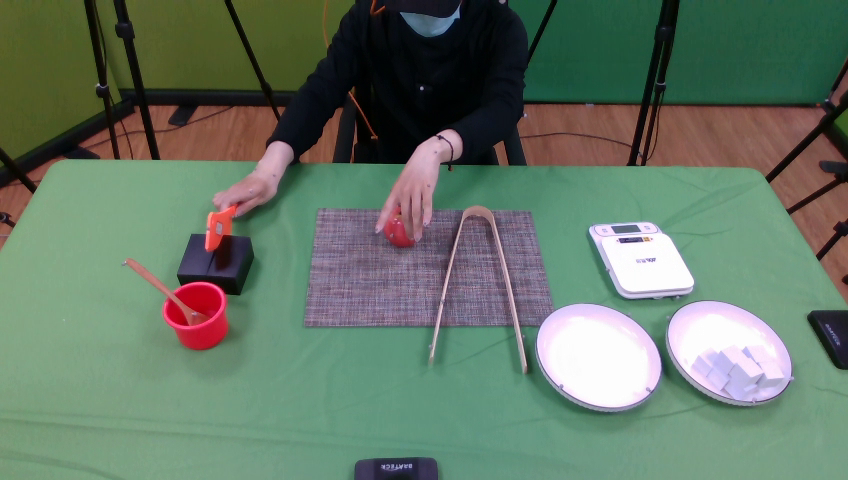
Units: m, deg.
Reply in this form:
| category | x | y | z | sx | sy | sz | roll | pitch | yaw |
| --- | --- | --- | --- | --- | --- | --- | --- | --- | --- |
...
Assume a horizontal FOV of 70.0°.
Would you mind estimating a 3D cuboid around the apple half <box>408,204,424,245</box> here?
| category | x | y | z | sx | sy | sz | roll | pitch | yaw |
| --- | --- | --- | --- | --- | --- | --- | --- | --- | --- |
| apple half | -0.015 | -0.029 | 1.181 | 0.033 | 0.082 | 0.081 | 1 | 46 | 2 |

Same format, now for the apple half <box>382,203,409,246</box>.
| category | x | y | z | sx | sy | sz | roll | pitch | yaw |
| --- | --- | --- | --- | --- | --- | --- | --- | --- | --- |
| apple half | -0.054 | -0.029 | 1.180 | 0.053 | 0.075 | 0.080 | 1 | 49 | 2 |

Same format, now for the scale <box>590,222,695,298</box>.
| category | x | y | z | sx | sy | sz | roll | pitch | yaw |
| --- | --- | --- | --- | --- | --- | --- | --- | --- | --- |
| scale | 0.424 | 0.031 | 1.189 | 0.149 | 0.032 | 0.199 | -3 | 46 | -7 |

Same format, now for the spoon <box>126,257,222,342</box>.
| category | x | y | z | sx | sy | sz | roll | pitch | yaw |
| --- | --- | --- | --- | --- | --- | --- | --- | --- | --- |
| spoon | -0.408 | 0.096 | 0.990 | 0.194 | 0.021 | 0.041 | 50 | 53 | -18 |

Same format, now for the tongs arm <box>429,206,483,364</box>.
| category | x | y | z | sx | sy | sz | roll | pitch | yaw |
| --- | --- | --- | --- | --- | --- | --- | --- | --- | --- |
| tongs arm | 0.064 | 0.069 | 1.124 | 0.051 | 0.026 | 0.382 | 8 | 45 | 5 |

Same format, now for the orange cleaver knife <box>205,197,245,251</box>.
| category | x | y | z | sx | sy | sz | roll | pitch | yaw |
| --- | --- | --- | --- | --- | --- | --- | --- | --- | --- |
| orange cleaver knife | -0.374 | -0.034 | 1.144 | 0.012 | 0.077 | 0.210 | 7 | 15 | -2 |

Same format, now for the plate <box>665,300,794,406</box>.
| category | x | y | z | sx | sy | sz | roll | pitch | yaw |
| --- | --- | --- | --- | --- | --- | --- | --- | --- | --- |
| plate | 0.513 | 0.194 | 1.034 | 0.208 | 0.039 | 0.206 | 2 | 46 | -2 |

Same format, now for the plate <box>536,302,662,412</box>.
| category | x | y | z | sx | sy | sz | roll | pitch | yaw |
| --- | --- | --- | --- | --- | --- | --- | --- | --- | --- |
| plate | 0.288 | 0.197 | 1.016 | 0.209 | 0.038 | 0.208 | 2 | 46 | -2 |

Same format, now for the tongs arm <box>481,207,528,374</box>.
| category | x | y | z | sx | sy | sz | roll | pitch | yaw |
| --- | --- | --- | --- | --- | --- | --- | --- | --- | --- |
| tongs arm | 0.149 | 0.078 | 1.124 | 0.028 | 0.028 | 0.385 | -4 | 46 | -2 |
